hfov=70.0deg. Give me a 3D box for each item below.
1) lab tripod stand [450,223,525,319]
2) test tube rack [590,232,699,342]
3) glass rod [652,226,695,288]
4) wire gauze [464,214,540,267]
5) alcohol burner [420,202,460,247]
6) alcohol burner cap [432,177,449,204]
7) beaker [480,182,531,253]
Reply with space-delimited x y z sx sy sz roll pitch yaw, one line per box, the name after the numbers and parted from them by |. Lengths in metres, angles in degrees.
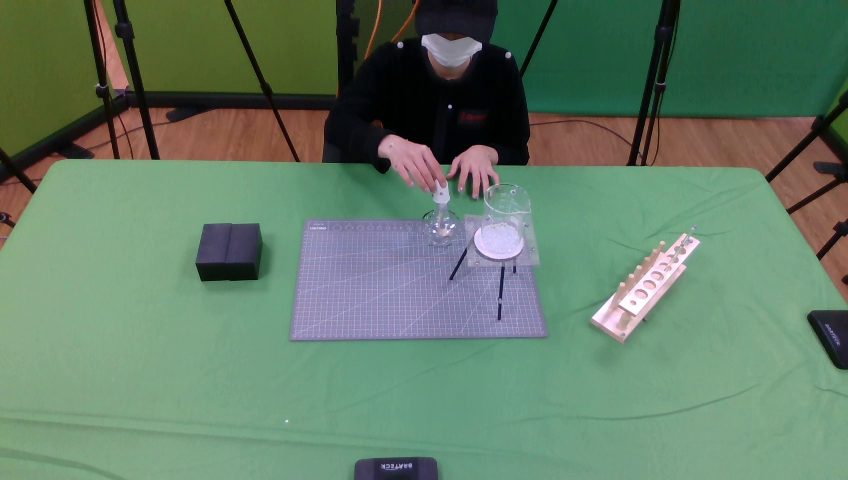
0.120 0.046 1.080 0.148 0.132 0.147 1 47 -1 | lab tripod stand
0.407 0.074 1.112 0.066 0.085 0.242 35 53 26 | test tube rack
0.432 0.037 1.057 0.008 0.200 0.008 1 54 -1 | glass rod
0.131 -0.001 1.035 0.121 0.011 0.124 1 44 -3 | wire gauze
0.032 -0.046 1.176 0.078 0.120 0.077 2 44 -2 | alcohol burner
0.029 -0.095 1.123 0.034 0.048 0.033 -3 41 3 | alcohol burner cap
0.133 -0.033 0.998 0.083 0.101 0.074 26 51 22 | beaker
